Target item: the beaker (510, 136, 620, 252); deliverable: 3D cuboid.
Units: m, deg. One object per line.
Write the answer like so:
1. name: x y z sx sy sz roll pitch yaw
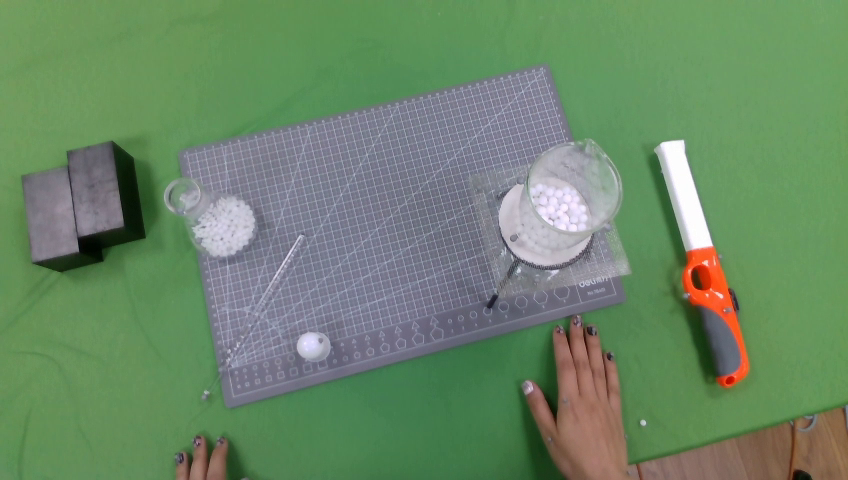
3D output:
1. beaker: 0.113 -0.034 0.510 0.074 0.100 0.083 21 79 4

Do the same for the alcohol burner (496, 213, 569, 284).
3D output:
1. alcohol burner: 0.114 0.006 0.628 0.078 0.119 0.077 0 78 2

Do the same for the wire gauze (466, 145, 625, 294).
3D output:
1. wire gauze: 0.111 -0.019 0.556 0.125 0.011 0.121 -12 81 -4

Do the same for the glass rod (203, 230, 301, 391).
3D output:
1. glass rod: -0.187 0.074 0.663 0.008 0.008 0.199 27 79 6

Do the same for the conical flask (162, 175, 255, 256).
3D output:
1. conical flask: -0.228 -0.030 0.628 0.075 0.122 0.075 0 77 0

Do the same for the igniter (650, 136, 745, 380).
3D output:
1. igniter: 0.304 0.015 0.674 0.057 0.025 0.275 -8 78 -13

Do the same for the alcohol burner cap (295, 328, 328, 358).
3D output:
1. alcohol burner cap: -0.121 0.108 0.640 0.034 0.048 0.033 0 78 -1

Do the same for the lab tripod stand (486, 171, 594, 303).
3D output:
1. lab tripod stand: 0.111 -0.003 0.619 0.148 0.132 0.147 0 79 -1
